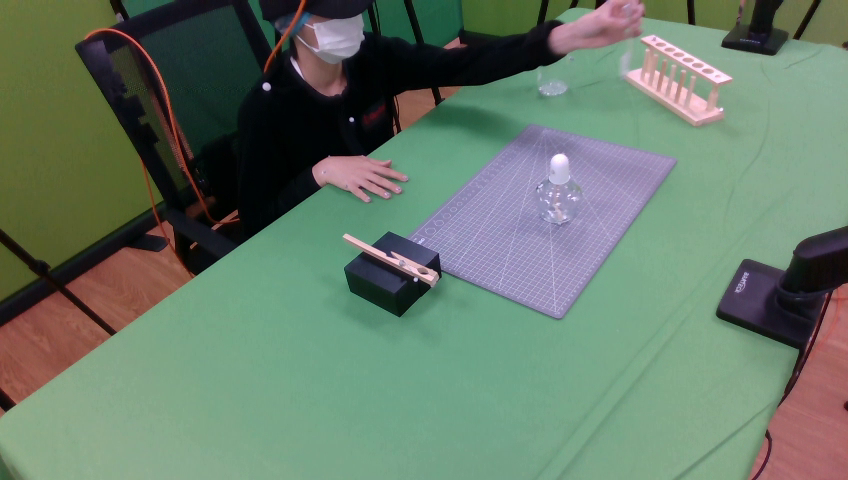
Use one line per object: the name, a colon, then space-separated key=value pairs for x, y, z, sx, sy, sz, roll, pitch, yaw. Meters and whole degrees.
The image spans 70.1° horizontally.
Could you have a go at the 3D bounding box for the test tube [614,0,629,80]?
test tube: x=0.337 y=-0.342 z=1.036 sx=0.017 sy=0.151 sz=0.017 roll=-6 pitch=44 yaw=6

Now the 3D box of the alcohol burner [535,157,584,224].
alcohol burner: x=0.217 y=-0.085 z=0.967 sx=0.078 sy=0.119 sz=0.077 roll=-3 pitch=41 yaw=3

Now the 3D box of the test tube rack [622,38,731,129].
test tube rack: x=0.506 y=-0.325 z=1.234 sx=0.067 sy=0.085 sz=0.240 roll=-18 pitch=41 yaw=-11

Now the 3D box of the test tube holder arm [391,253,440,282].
test tube holder arm: x=-0.015 y=0.039 z=0.858 sx=0.087 sy=0.015 sz=0.010 roll=22 pitch=57 yaw=32

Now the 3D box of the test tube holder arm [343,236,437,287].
test tube holder arm: x=-0.053 y=0.029 z=0.879 sx=0.177 sy=0.015 sz=0.013 roll=22 pitch=57 yaw=32

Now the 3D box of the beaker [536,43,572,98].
beaker: x=0.281 y=-0.368 z=1.311 sx=0.074 sy=0.101 sz=0.084 roll=4 pitch=40 yaw=14

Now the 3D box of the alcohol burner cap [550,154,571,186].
alcohol burner cap: x=0.212 y=-0.112 z=0.944 sx=0.034 sy=0.048 sz=0.033 roll=-6 pitch=44 yaw=7
